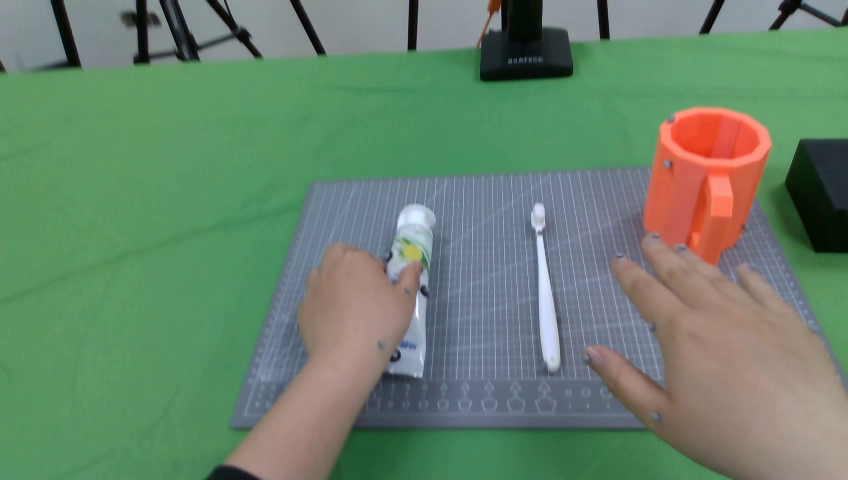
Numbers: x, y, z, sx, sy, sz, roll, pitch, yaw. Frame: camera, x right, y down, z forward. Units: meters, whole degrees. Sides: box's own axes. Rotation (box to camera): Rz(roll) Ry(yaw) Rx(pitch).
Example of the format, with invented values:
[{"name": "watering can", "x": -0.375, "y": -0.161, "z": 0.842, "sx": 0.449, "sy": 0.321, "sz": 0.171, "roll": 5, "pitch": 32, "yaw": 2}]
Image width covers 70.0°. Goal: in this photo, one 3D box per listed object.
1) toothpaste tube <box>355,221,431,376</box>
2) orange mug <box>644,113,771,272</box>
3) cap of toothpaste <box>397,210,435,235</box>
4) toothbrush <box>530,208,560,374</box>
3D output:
[{"name": "toothpaste tube", "x": -0.019, "y": 0.043, "z": 0.521, "sx": 0.055, "sy": 0.035, "sz": 0.163, "roll": 2, "pitch": 46, "yaw": 6}, {"name": "orange mug", "x": 0.240, "y": -0.037, "z": 0.517, "sx": 0.083, "sy": 0.102, "sz": 0.125, "roll": 4, "pitch": 40, "yaw": 13}, {"name": "cap of toothpaste", "x": -0.008, "y": -0.013, "z": 0.574, "sx": 0.037, "sy": 0.038, "sz": 0.011, "roll": 1, "pitch": 46, "yaw": 9}, {"name": "toothbrush", "x": 0.104, "y": 0.035, "z": 0.520, "sx": 0.014, "sy": 0.017, "sz": 0.180, "roll": 9, "pitch": 45, "yaw": -3}]
